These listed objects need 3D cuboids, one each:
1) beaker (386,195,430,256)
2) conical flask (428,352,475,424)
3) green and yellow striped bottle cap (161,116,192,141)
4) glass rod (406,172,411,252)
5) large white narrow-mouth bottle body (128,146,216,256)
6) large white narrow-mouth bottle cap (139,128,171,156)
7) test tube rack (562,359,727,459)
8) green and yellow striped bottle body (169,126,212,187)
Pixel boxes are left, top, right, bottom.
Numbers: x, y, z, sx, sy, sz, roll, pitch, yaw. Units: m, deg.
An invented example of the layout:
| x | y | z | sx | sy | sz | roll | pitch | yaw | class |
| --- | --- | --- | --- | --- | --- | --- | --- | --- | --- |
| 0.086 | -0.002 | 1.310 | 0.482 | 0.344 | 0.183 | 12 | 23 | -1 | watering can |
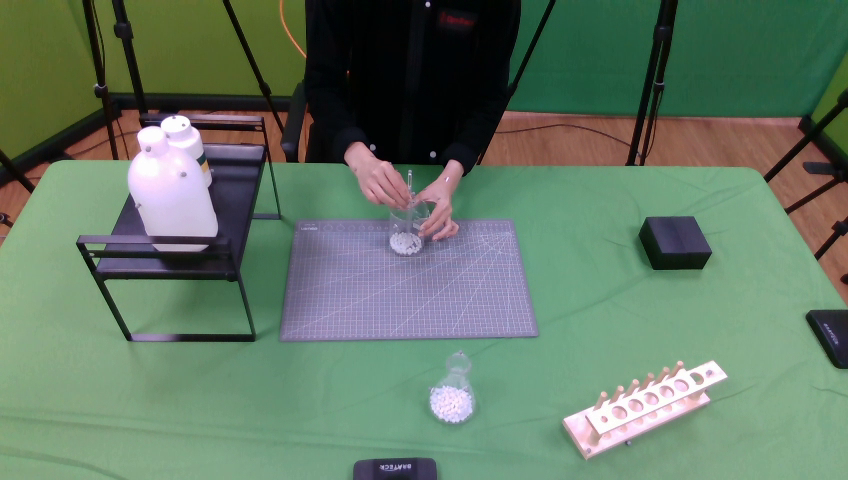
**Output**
| x | y | z | sx | sy | sz | roll | pitch | yaw | class |
| --- | --- | --- | --- | --- | --- | --- | --- | --- | --- |
| -0.031 | -0.025 | 1.161 | 0.084 | 0.101 | 0.073 | 19 | 47 | 13 | beaker |
| 0.046 | 0.220 | 0.920 | 0.075 | 0.122 | 0.075 | 2 | 46 | -2 | conical flask |
| -0.387 | -0.174 | 0.946 | 0.045 | 0.020 | 0.045 | 3 | 44 | -3 | green and yellow striped bottle cap |
| -0.029 | -0.046 | 1.106 | 0.008 | 0.201 | 0.008 | 2 | 46 | -1 | glass rod |
| -0.366 | -0.073 | 0.872 | 0.102 | 0.195 | 0.101 | 3 | 47 | -3 | large white narrow-mouth bottle body |
| -0.358 | -0.131 | 0.808 | 0.038 | 0.024 | 0.037 | 3 | 47 | -3 | large white narrow-mouth bottle cap |
| 0.341 | 0.247 | 0.940 | 0.243 | 0.085 | 0.066 | -16 | 49 | -18 | test tube rack |
| -0.389 | -0.139 | 0.984 | 0.063 | 0.120 | 0.063 | 2 | 46 | -2 | green and yellow striped bottle body |
